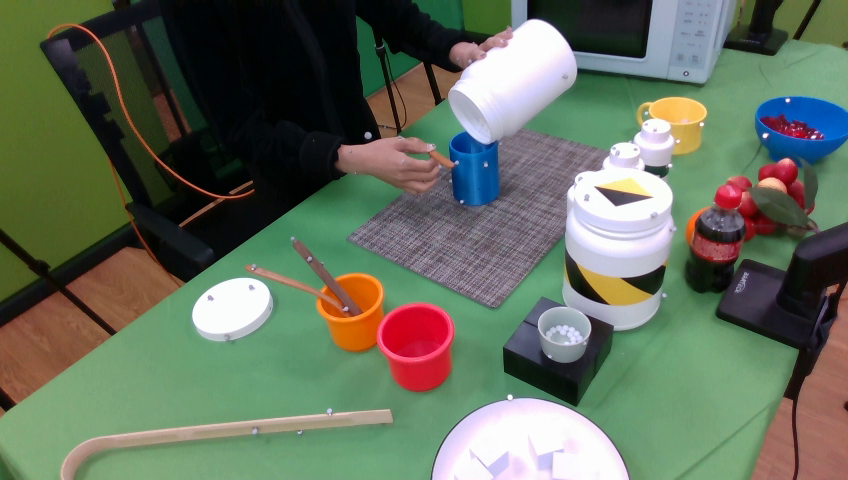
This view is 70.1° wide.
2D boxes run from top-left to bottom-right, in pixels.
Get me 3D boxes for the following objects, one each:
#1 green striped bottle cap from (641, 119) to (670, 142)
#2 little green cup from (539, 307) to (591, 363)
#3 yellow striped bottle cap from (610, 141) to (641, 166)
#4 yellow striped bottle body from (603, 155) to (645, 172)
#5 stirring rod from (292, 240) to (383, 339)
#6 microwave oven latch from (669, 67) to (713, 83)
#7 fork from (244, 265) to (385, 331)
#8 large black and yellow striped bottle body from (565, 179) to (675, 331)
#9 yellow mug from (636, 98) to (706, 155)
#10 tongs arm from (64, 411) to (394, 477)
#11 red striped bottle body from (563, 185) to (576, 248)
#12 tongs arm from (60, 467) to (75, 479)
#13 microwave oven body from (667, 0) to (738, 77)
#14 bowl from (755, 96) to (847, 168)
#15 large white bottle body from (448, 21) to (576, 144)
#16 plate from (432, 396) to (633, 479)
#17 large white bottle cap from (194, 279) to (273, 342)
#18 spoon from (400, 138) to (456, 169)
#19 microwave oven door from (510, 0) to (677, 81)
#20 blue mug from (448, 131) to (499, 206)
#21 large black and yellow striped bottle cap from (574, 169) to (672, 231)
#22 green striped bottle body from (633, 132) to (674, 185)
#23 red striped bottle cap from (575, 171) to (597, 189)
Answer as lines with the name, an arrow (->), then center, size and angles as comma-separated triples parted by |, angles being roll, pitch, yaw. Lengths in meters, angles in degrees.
green striped bottle cap -> 0.371, -0.175, 0.968 | 0.044, 0.020, 0.044 | -4, 42, 4
little green cup -> 0.167, 0.114, 0.721 | 0.061, 0.039, 0.061 | -4, 43, 4
yellow striped bottle cap -> 0.309, -0.131, 0.925 | 0.044, 0.019, 0.044 | -4, 46, 5
yellow striped bottle body -> 0.314, -0.091, 0.958 | 0.063, 0.121, 0.062 | -4, 40, 4
stirring rod -> -0.118, 0.068, 0.825 | 0.176, 0.006, 0.014 | 48, 59, -4
microwave oven latch -> 0.556, -0.349, 1.261 | 0.078, 0.029, 0.030 | 16, 46, 27
fork -> -0.142, 0.078, 0.806 | 0.209, 0.018, 0.028 | 30, 32, -23
large black and yellow striped bottle body -> 0.254, 0.014, 0.793 | 0.131, 0.185, 0.130 | -5, 40, 4
yellow mug -> 0.453, -0.217, 1.128 | 0.100, 0.064, 0.129 | -34, 46, -27
tongs arm -> -0.228, 0.241, 0.715 | 0.385, 0.026, 0.050 | -5, 44, 4
red striped bottle body -> 0.247, -0.041, 0.910 | 0.063, 0.120, 0.062 | -1, 38, 1
tongs arm -> -0.239, 0.301, 0.649 | 0.386, 0.028, 0.028 | 6, 49, 16
microwave oven body -> 0.462, -0.552, 1.369 | 0.439, 0.261, 0.326 | 15, 45, 26
bowl -> 0.645, -0.177, 1.041 | 0.151, 0.077, 0.150 | -5, 40, 4
large white bottle body -> 0.141, -0.254, 0.992 | 0.185, 0.131, 0.129 | -40, 47, -10
plate -> 0.112, 0.261, 0.635 | 0.209, 0.038, 0.208 | -5, 40, 4
large white bottle cap -> -0.284, 0.103, 0.902 | 0.115, 0.018, 0.114 | -4, 40, 4
spoon -> 0.005, -0.139, 0.965 | 0.042, 0.022, 0.192 | -19, 22, -15
microwave oven door -> 0.354, -0.478, 1.290 | 0.353, 0.245, 0.039 | 15, 45, 25
blue mug -> 0.089, -0.135, 1.051 | 0.082, 0.106, 0.116 | 2, 41, 11
large black and yellow striped bottle cap -> 0.242, -0.051, 0.738 | 0.115, 0.019, 0.114 | -4, 37, 3
green striped bottle body -> 0.376, -0.135, 1.001 | 0.063, 0.120, 0.063 | -5, 40, 5
red striped bottle cap -> 0.242, -0.081, 0.876 | 0.044, 0.018, 0.044 | -5, 44, 5
